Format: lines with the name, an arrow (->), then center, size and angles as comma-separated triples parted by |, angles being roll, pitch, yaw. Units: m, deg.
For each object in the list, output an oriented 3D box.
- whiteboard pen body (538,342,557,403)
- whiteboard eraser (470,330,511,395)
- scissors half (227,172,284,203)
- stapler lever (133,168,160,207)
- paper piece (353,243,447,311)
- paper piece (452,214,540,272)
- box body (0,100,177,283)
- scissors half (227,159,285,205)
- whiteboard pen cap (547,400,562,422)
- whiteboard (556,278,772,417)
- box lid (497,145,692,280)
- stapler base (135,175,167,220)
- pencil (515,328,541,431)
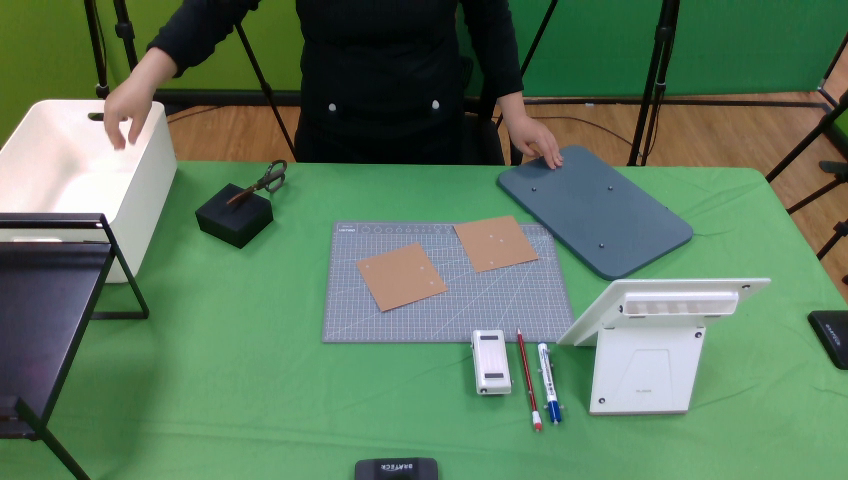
whiteboard pen body -> 0.205, 0.228, 0.997 | 0.017, 0.017, 0.140 | 1, 47, -3
whiteboard eraser -> 0.109, 0.202, 0.998 | 0.055, 0.042, 0.112 | 1, 46, -5
scissors half -> -0.339, -0.101, 1.230 | 0.013, 0.040, 0.175 | 20, 28, 17
stapler lever -> -0.557, -0.112, 1.218 | 0.027, 0.040, 0.117 | 0, 43, -10
paper piece -> -0.046, 0.066, 1.137 | 0.136, 0.009, 0.137 | -14, 47, -22
paper piece -> 0.142, 0.003, 1.213 | 0.135, 0.004, 0.135 | -11, 47, -14
box body -> -0.639, -0.095, 1.140 | 0.254, 0.161, 0.361 | 0, 46, -4
scissors half -> -0.336, -0.117, 1.218 | 0.013, 0.040, 0.175 | 25, 46, 14
whiteboard pen cap -> 0.205, 0.269, 0.956 | 0.018, 0.018, 0.033 | 0, 47, -5
whiteboard -> 0.347, 0.174, 0.903 | 0.217, 0.306, 0.143 | 1, 65, -4
box lid -> 0.360, -0.073, 1.304 | 0.263, 0.015, 0.369 | -24, 51, -25
stapler base -> -0.558, -0.093, 1.235 | 0.041, 0.024, 0.129 | 0, 44, -10
pencil -> 0.169, 0.224, 1.002 | 0.012, 0.012, 0.192 | -2, 46, -6
